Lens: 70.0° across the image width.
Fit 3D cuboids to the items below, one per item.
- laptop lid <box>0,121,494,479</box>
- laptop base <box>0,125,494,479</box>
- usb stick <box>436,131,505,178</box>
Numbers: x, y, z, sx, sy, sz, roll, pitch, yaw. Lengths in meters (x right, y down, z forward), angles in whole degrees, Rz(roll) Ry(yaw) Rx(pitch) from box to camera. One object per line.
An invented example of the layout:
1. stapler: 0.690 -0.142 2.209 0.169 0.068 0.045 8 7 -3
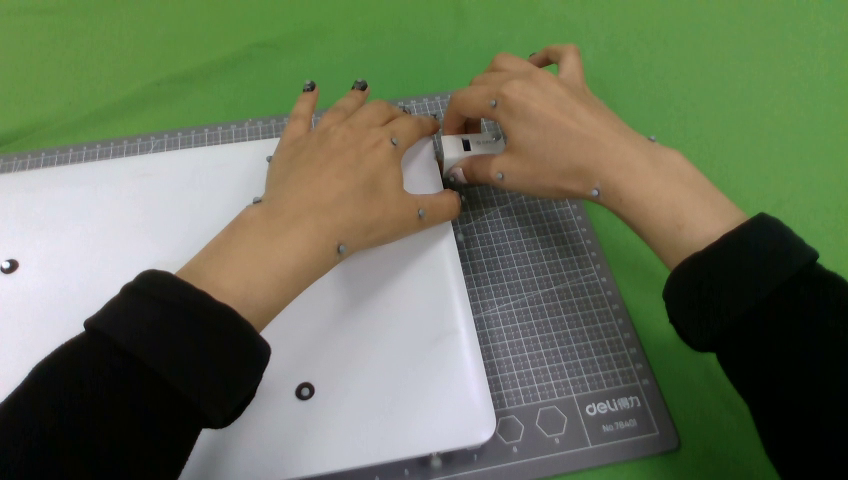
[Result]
1. laptop lid: -0.152 0.036 0.369 0.357 0.013 0.239 -7 61 -4
2. laptop base: -0.152 0.041 0.380 0.355 0.023 0.233 -8 62 -5
3. usb stick: 0.026 -0.060 0.428 0.059 0.027 0.021 -7 61 -3
